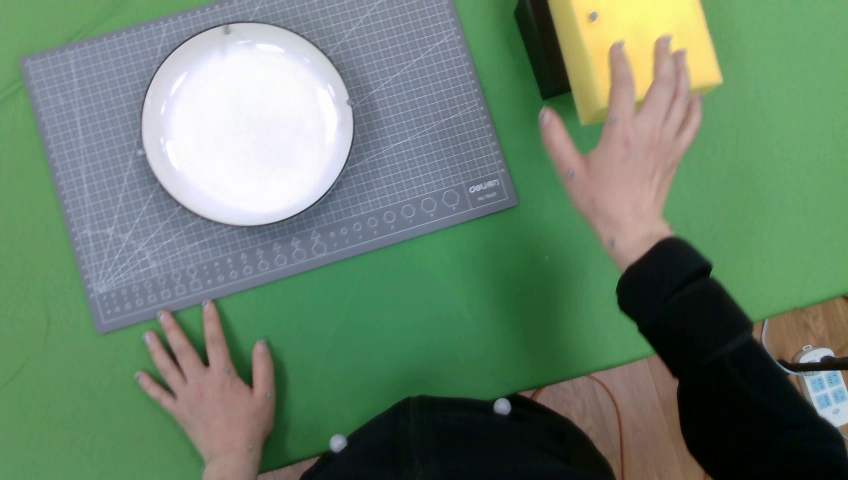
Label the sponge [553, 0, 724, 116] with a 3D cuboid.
[{"bbox_3d":[0.190,-0.234,0.575,0.118,0.061,0.206,-14,87,-3],"label":"sponge"}]

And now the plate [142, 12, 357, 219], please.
[{"bbox_3d":[-0.171,-0.122,0.612,0.209,0.038,0.208,0,86,-2],"label":"plate"}]
